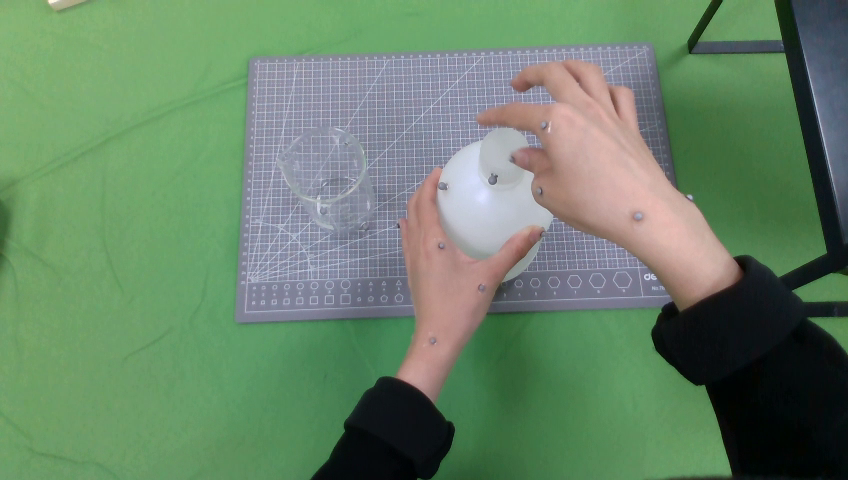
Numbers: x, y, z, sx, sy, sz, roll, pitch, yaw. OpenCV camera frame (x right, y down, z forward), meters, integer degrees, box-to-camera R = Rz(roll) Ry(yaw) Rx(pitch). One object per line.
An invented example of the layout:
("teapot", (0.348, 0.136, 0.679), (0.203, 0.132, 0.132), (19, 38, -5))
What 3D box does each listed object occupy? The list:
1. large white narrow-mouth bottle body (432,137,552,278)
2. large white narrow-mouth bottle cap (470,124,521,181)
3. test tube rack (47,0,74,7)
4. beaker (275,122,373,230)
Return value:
("large white narrow-mouth bottle body", (0.058, -0.033, 0.523), (0.102, 0.196, 0.101), (-1, 73, 3))
("large white narrow-mouth bottle cap", (0.051, -0.061, 0.430), (0.038, 0.024, 0.037), (-1, 74, 3))
("test tube rack", (-0.334, -0.357, 0.684), (0.242, 0.085, 0.066), (-22, 74, -6))
("beaker", (-0.091, -0.056, 0.581), (0.084, 0.101, 0.073), (8, 73, 4))
